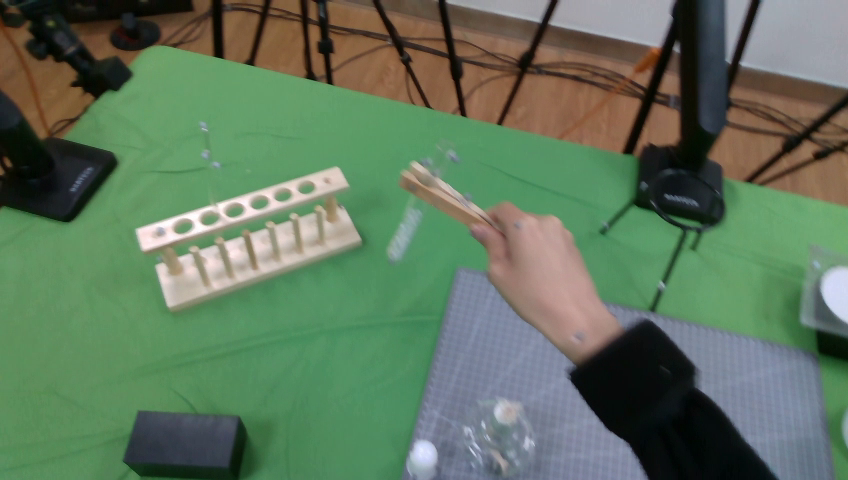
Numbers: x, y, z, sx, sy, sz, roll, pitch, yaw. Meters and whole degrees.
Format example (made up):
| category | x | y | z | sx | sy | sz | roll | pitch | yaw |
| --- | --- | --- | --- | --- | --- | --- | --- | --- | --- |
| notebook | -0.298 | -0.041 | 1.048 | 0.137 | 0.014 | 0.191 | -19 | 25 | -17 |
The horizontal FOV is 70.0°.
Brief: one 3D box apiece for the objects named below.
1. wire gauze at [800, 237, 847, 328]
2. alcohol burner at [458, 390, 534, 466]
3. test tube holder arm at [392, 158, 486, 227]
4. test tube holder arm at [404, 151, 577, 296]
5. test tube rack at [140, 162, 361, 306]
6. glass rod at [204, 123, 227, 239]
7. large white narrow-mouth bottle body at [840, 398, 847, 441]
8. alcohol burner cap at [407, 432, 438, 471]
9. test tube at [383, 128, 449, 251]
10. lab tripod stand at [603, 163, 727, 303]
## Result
| category | x | y | z | sx | sy | sz | roll | pitch | yaw |
| --- | --- | --- | --- | --- | --- | --- | --- | --- | --- |
| wire gauze | 0.518 | 0.060 | 0.727 | 0.121 | 0.011 | 0.124 | 20 | 56 | 10 |
| alcohol burner | 0.074 | 0.181 | 0.603 | 0.078 | 0.120 | 0.077 | 3 | 54 | -4 |
| test tube holder arm | 0.013 | -0.039 | 0.501 | 0.087 | 0.015 | 0.010 | 32 | 43 | 4 |
| test tube holder arm | 0.052 | -0.015 | 0.499 | 0.177 | 0.015 | 0.013 | 39 | 44 | 11 |
| test tube rack | -0.202 | -0.009 | 0.738 | 0.243 | 0.086 | 0.066 | -20 | 59 | -17 |
| glass rod | -0.233 | -0.050 | 0.684 | 0.008 | 0.201 | 0.008 | 6 | 47 | -6 |
| large white narrow-mouth bottle body | 0.517 | 0.162 | 0.601 | 0.102 | 0.196 | 0.101 | 2 | 54 | -2 |
| alcohol burner cap | -0.001 | 0.214 | 0.618 | 0.034 | 0.048 | 0.033 | 1 | 55 | -1 |
| test tube | -0.010 | -0.038 | 0.528 | 0.017 | 0.151 | 0.017 | 12 | 49 | -14 |
| lab tripod stand | 0.303 | -0.015 | 0.749 | 0.148 | 0.132 | 0.147 | 3 | 56 | -3 |
